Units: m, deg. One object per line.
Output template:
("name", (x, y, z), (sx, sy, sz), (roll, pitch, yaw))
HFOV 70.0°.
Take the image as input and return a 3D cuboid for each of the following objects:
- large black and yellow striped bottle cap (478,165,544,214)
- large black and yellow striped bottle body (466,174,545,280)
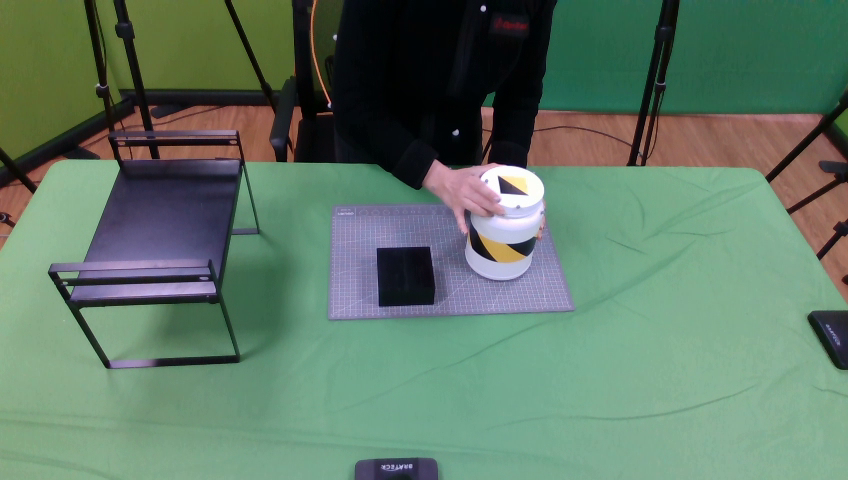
("large black and yellow striped bottle cap", (0.152, -0.090, 1.059), (0.115, 0.019, 0.114), (3, 45, -3))
("large black and yellow striped bottle body", (0.149, -0.030, 1.118), (0.131, 0.185, 0.130), (2, 45, -2))
